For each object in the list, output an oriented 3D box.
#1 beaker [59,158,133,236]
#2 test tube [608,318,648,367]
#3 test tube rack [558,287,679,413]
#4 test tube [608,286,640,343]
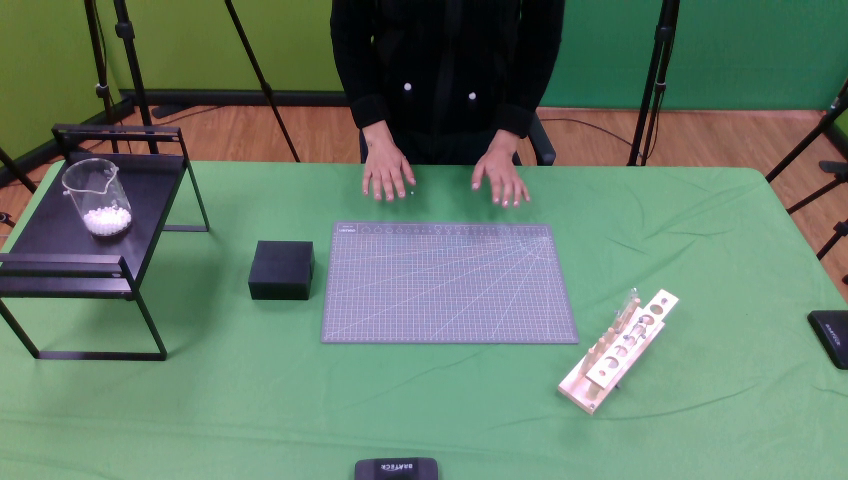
[{"bbox_3d":[-0.488,-0.060,0.915,0.074,0.101,0.083,-35,58,-31],"label":"beaker"},{"bbox_3d":[0.311,0.169,0.941,0.017,0.151,0.017,5,48,-5],"label":"test tube"},{"bbox_3d":[0.326,0.170,1.009,0.066,0.085,0.242,36,54,27],"label":"test tube rack"},{"bbox_3d":[0.324,0.123,0.992,0.017,0.151,0.017,2,49,-2],"label":"test tube"}]
